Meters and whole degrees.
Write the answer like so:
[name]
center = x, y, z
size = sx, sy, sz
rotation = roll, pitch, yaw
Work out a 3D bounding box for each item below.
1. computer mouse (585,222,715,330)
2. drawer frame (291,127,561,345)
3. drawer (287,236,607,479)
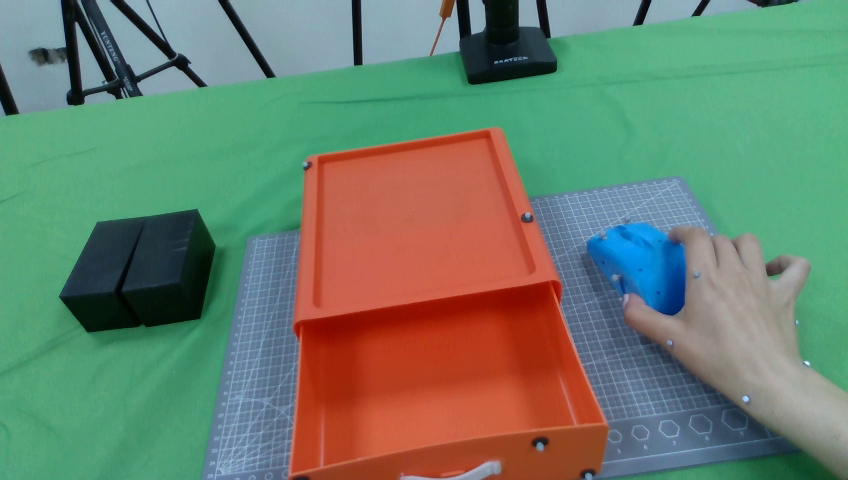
[computer mouse]
center = 0.189, 0.023, 0.515
size = 0.063, 0.041, 0.116
rotation = -18, 40, -6
[drawer frame]
center = -0.006, 0.002, 0.535
size = 0.202, 0.083, 0.211
rotation = -10, 42, 0
[drawer]
center = 0.006, 0.081, 0.453
size = 0.194, 0.074, 0.209
rotation = -10, 43, 0
